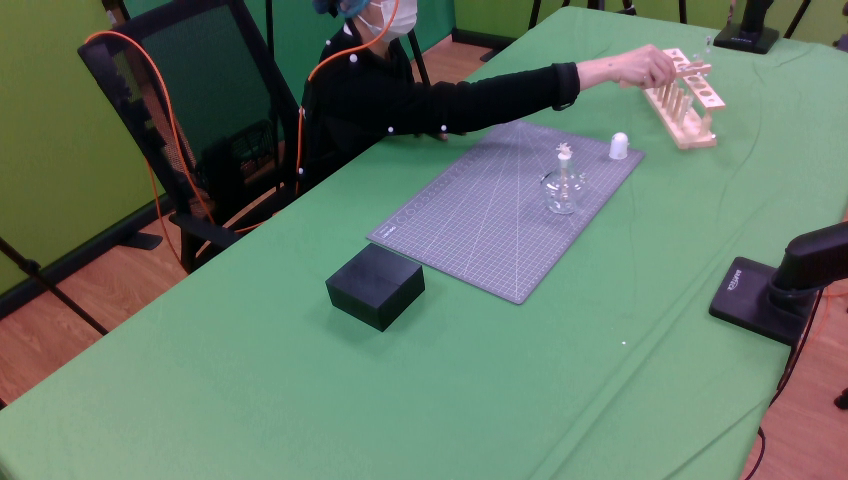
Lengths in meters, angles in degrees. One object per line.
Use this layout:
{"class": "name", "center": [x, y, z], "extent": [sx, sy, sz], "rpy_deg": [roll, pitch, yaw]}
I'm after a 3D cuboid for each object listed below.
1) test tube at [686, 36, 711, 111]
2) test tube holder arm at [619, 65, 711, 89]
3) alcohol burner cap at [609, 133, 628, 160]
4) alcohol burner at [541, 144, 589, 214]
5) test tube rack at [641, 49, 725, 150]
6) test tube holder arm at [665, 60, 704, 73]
{"class": "test tube", "center": [0.508, -0.307, 1.130], "extent": [0.017, 0.151, 0.017], "rpy_deg": [-2, 44, 2]}
{"class": "test tube holder arm", "center": [0.440, -0.298, 1.102], "extent": [0.179, 0.015, 0.013], "rpy_deg": [-13, 41, -10]}
{"class": "alcohol burner cap", "center": [0.356, -0.172, 1.101], "extent": [0.034, 0.048, 0.033], "rpy_deg": [-5, 40, 5]}
{"class": "alcohol burner", "center": [0.229, -0.102, 0.983], "extent": [0.078, 0.119, 0.077], "rpy_deg": [-6, 41, 5]}
{"class": "test tube rack", "center": [0.495, -0.279, 1.175], "extent": [0.067, 0.085, 0.241], "rpy_deg": [-5, 41, 3]}
{"class": "test tube holder arm", "center": [0.480, -0.313, 1.116], "extent": [0.088, 0.015, 0.010], "rpy_deg": [-21, 44, -18]}
